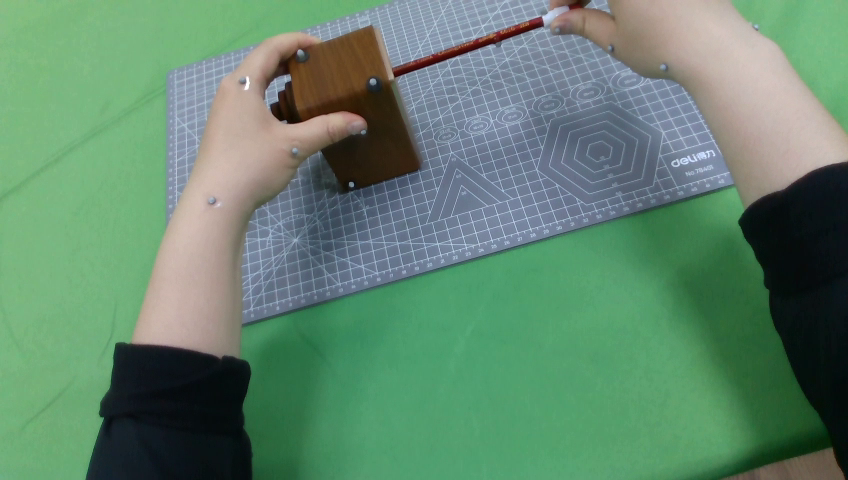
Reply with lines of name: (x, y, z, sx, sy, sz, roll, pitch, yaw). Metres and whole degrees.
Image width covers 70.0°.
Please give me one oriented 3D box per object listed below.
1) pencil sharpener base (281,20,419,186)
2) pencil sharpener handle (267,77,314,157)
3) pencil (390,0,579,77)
pencil sharpener base: (-0.055, -0.099, 0.463, 0.076, 0.108, 0.061, -19, 60, 3)
pencil sharpener handle: (-0.105, -0.088, 0.455, 0.030, 0.068, 0.035, -19, 58, 3)
pencil: (0.018, -0.136, 0.434, 0.194, 0.012, 0.012, -20, 60, 4)
